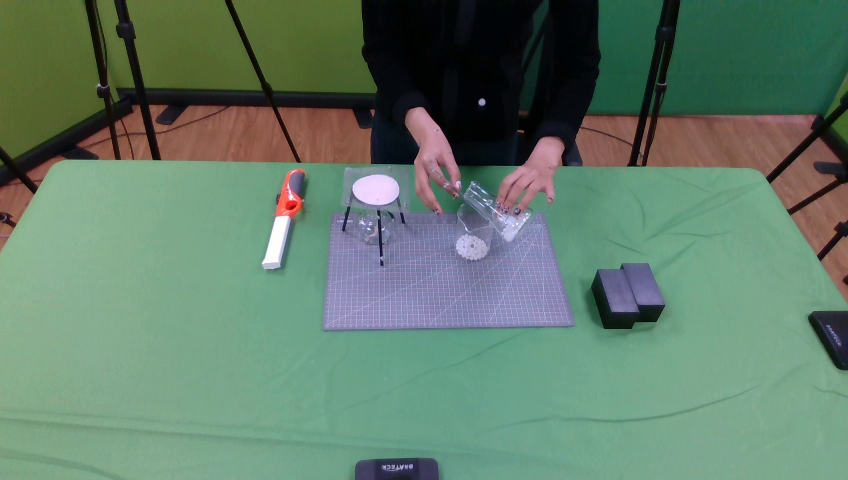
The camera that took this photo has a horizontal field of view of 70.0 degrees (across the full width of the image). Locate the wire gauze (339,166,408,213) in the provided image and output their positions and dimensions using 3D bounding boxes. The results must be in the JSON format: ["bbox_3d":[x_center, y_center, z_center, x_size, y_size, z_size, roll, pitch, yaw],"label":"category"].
[{"bbox_3d":[-0.091,-0.096,1.110,0.125,0.011,0.120,2,45,-3],"label":"wire gauze"}]

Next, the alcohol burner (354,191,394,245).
[{"bbox_3d":[-0.096,-0.048,1.171,0.078,0.119,0.077,4,45,-4],"label":"alcohol burner"}]

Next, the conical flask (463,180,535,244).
[{"bbox_3d":[0.127,-0.055,1.065,0.121,0.075,0.075,38,53,9],"label":"conical flask"}]

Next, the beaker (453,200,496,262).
[{"bbox_3d":[0.094,-0.012,1.162,0.074,0.101,0.083,16,48,12],"label":"beaker"}]

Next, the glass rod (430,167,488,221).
[{"bbox_3d":[0.066,-0.079,1.089,0.008,0.201,0.008,-17,56,28],"label":"glass rod"}]

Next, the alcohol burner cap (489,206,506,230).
[{"bbox_3d":[0.152,-0.047,1.241,0.034,0.048,0.033,2,45,-1],"label":"alcohol burner cap"}]

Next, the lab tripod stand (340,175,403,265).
[{"bbox_3d":[-0.094,-0.050,1.160,0.148,0.132,0.147,2,44,-2],"label":"lab tripod stand"}]

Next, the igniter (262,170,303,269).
[{"bbox_3d":[-0.283,-0.050,1.222,0.057,0.025,0.275,-5,45,6],"label":"igniter"}]
